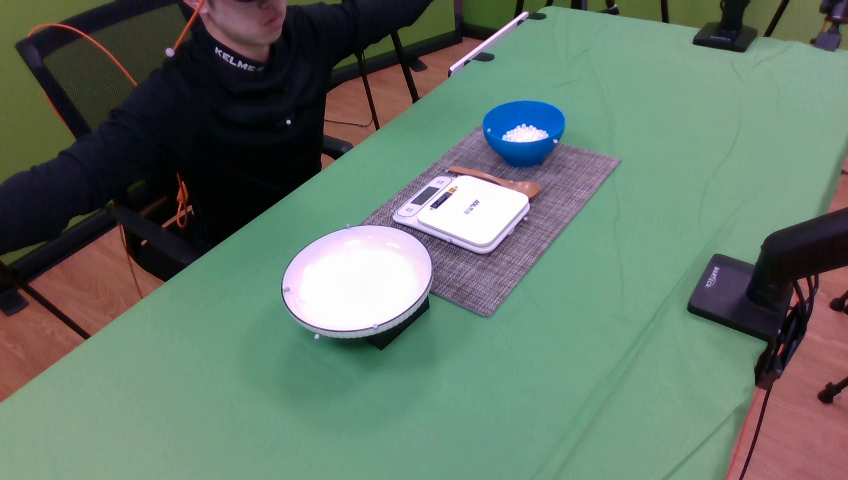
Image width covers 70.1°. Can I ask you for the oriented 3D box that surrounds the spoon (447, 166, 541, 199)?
[{"bbox_3d":[0.120,-0.107,1.071,0.192,0.022,0.041,23,64,31],"label":"spoon"}]

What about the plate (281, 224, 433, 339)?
[{"bbox_3d":[-0.089,0.057,0.825,0.209,0.038,0.208,-4,40,4],"label":"plate"}]

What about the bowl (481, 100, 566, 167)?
[{"bbox_3d":[0.183,-0.187,1.111,0.151,0.077,0.150,-4,41,4],"label":"bowl"}]

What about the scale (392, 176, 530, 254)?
[{"bbox_3d":[0.060,-0.050,1.006,0.199,0.032,0.149,22,48,30],"label":"scale"}]
